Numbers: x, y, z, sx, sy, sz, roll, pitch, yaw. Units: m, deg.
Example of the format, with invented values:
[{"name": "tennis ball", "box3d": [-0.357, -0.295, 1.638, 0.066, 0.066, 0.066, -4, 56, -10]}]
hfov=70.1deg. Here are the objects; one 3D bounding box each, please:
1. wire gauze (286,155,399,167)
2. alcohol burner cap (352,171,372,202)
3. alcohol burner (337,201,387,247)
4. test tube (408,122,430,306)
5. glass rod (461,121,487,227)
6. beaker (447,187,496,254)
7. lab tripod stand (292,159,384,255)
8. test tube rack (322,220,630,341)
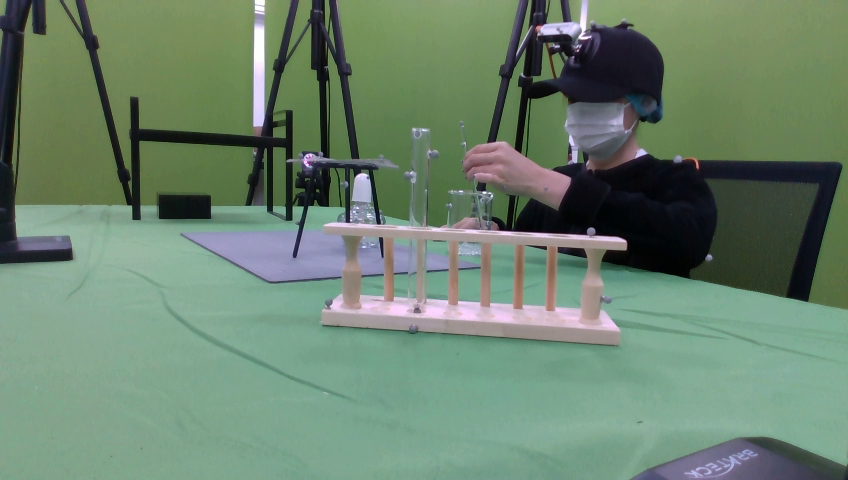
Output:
[{"name": "wire gauze", "box3d": [-0.101, -0.105, 0.788, 0.121, 0.011, 0.125, 4, 6, 6]}, {"name": "alcohol burner cap", "box3d": [-0.096, -0.084, 0.951, 0.034, 0.048, 0.034, 6, 5, 0]}, {"name": "alcohol burner", "box3d": [-0.098, -0.049, 0.954, 0.078, 0.119, 0.078, 0, 7, 0]}, {"name": "test tube", "box3d": [-0.004, -0.019, 0.489, 0.017, 0.150, 0.017, 1, 11, 0]}, {"name": "glass rod", "box3d": [0.081, -0.086, 0.941, 0.008, 0.199, 0.008, -13, 7, 2]}, {"name": "beaker", "box3d": [0.076, -0.031, 0.949, 0.074, 0.100, 0.083, -6, 11, -42]}, {"name": "lab tripod stand", "box3d": [-0.105, -0.039, 0.797, 0.148, 0.131, 0.148, 2, 5, 0]}, {"name": "test tube rack", "box3d": [0.041, 0.029, 0.512, 0.242, 0.085, 0.067, 3, 7, 5]}]
